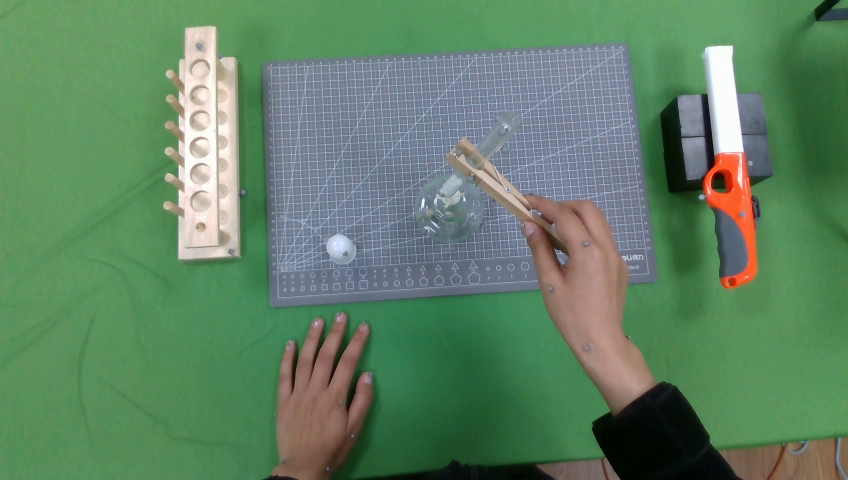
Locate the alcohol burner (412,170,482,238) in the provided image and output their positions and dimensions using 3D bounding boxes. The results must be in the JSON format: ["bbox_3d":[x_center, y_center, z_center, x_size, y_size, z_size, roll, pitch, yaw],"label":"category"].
[{"bbox_3d":[0.025,-0.042,0.658,0.078,0.119,0.077,0,82,0],"label":"alcohol burner"}]

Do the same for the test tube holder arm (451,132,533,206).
[{"bbox_3d":[0.060,-0.059,0.530,0.088,0.015,0.010,44,63,-6],"label":"test tube holder arm"}]

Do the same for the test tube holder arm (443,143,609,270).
[{"bbox_3d":[0.091,-0.027,0.533,0.179,0.015,0.013,37,64,-9],"label":"test tube holder arm"}]

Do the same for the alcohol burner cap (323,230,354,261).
[{"bbox_3d":[-0.098,0.004,0.683,0.034,0.048,0.033,0,79,-1],"label":"alcohol burner cap"}]

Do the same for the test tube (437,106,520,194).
[{"bbox_3d":[0.042,-0.072,0.519,0.017,0.150,0.017,6,71,-18],"label":"test tube"}]

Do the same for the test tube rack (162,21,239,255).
[{"bbox_3d":[-0.253,-0.110,0.677,0.067,0.085,0.241,-3,81,-1],"label":"test tube rack"}]

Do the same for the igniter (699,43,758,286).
[{"bbox_3d":[0.335,-0.087,0.674,0.057,0.025,0.275,-1,80,4],"label":"igniter"}]
